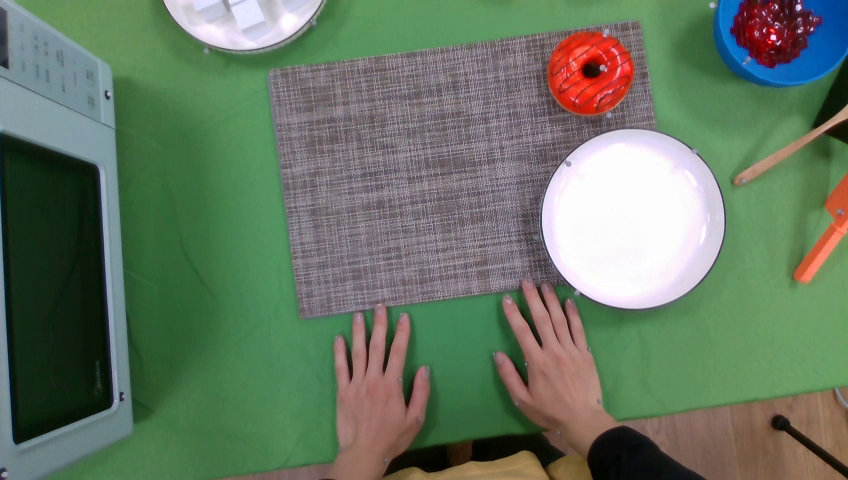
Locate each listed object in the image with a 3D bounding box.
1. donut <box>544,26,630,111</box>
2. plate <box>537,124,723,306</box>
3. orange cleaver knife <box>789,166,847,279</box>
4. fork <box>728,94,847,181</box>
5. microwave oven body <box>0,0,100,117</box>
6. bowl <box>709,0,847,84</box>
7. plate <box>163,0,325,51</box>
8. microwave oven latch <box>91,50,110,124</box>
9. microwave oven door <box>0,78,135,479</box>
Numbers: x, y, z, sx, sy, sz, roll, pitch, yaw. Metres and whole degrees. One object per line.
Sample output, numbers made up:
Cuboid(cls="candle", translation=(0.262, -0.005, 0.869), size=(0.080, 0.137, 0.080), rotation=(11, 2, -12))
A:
Cuboid(cls="donut", translation=(0.188, -0.199, 0.703), size=(0.099, 0.048, 0.099), rotation=(0, 88, 3))
Cuboid(cls="plate", translation=(0.233, -0.028, 0.699), size=(0.209, 0.038, 0.209), rotation=(0, 88, 0))
Cuboid(cls="orange cleaver knife", translation=(0.476, -0.051, 0.679), size=(0.012, 0.077, 0.212), rotation=(24, 117, 0))
Cuboid(cls="fork", translation=(0.440, -0.129, 0.680), size=(0.207, 0.018, 0.028), rotation=(-36, 94, 19))
Cuboid(cls="microwave oven body", translation=(-0.516, 0.009, 0.595), size=(0.326, 0.260, 0.441), rotation=(-5, 88, 0))
Cuboid(cls="bowl", translation=(0.389, -0.244, 0.690), size=(0.151, 0.077, 0.151), rotation=(0, 88, 1))
Cuboid(cls="plate", translation=(-0.210, -0.323, 0.720), size=(0.208, 0.039, 0.207), rotation=(0, 88, 1))
Cuboid(cls="microwave oven latch", translation=(-0.382, -0.175, 0.697), size=(0.030, 0.029, 0.079), rotation=(-4, 88, 0))
Cuboid(cls="microwave oven door", translation=(-0.367, 0.038, 0.587), size=(0.039, 0.244, 0.355), rotation=(-5, 87, 1))
